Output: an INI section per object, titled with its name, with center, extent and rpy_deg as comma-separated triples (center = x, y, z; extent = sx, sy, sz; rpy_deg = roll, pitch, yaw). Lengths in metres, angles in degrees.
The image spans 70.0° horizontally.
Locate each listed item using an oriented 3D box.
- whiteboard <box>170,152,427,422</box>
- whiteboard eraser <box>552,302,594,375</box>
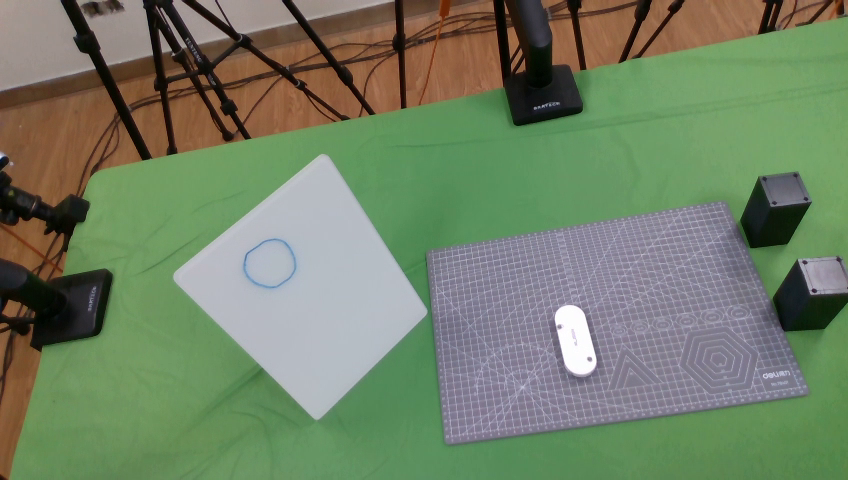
[whiteboard]
center = -0.170, 0.051, 0.807
extent = 0.217, 0.309, 0.142
rpy_deg = -43, 40, -16
[whiteboard eraser]
center = 0.199, 0.130, 0.810
extent = 0.041, 0.019, 0.100
rpy_deg = -9, 57, 5
